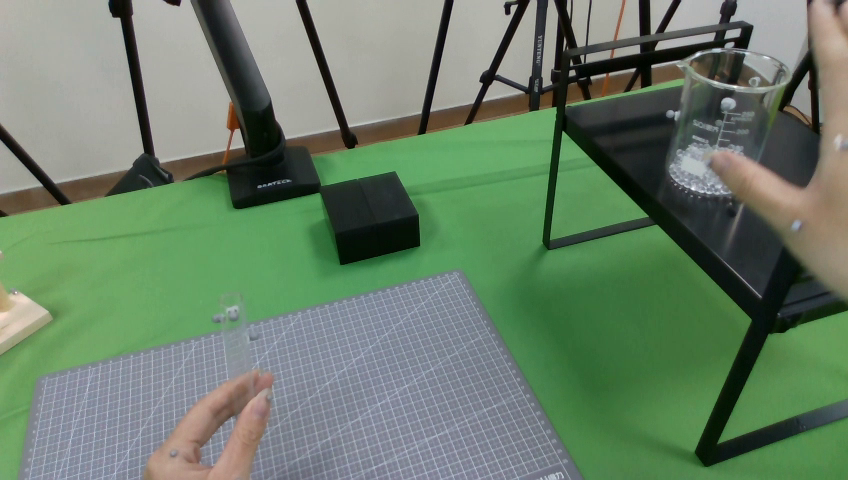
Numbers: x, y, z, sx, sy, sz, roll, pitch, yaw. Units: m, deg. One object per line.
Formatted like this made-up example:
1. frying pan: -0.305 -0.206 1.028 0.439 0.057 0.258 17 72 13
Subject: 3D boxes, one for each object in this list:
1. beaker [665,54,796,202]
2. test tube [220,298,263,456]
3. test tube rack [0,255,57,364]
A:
1. beaker: 0.238 -0.088 0.489 0.083 0.101 0.074 21 45 28
2. test tube: -0.127 0.102 0.428 0.017 0.151 0.017 4 35 -2
3. test tube rack: -0.499 0.116 0.578 0.066 0.086 0.242 22 45 27
